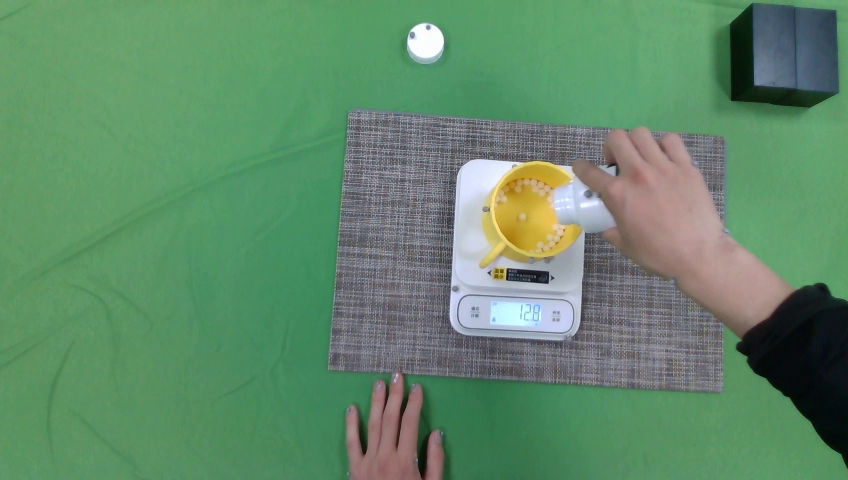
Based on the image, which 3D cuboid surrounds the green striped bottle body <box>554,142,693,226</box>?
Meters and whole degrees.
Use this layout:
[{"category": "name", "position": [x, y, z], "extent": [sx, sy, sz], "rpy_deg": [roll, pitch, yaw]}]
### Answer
[{"category": "green striped bottle body", "position": [0.184, -0.049, 0.567], "extent": [0.119, 0.063, 0.063], "rpy_deg": [-10, 83, 24]}]

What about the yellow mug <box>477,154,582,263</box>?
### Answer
[{"category": "yellow mug", "position": [0.103, -0.024, 0.641], "extent": [0.100, 0.064, 0.131], "rpy_deg": [44, 85, 2]}]

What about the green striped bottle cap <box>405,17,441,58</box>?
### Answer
[{"category": "green striped bottle cap", "position": [-0.001, -0.240, 0.720], "extent": [0.044, 0.020, 0.044], "rpy_deg": [0, 87, -2]}]

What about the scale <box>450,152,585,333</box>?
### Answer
[{"category": "scale", "position": [0.107, 0.002, 0.686], "extent": [0.149, 0.031, 0.200], "rpy_deg": [3, 84, -2]}]
